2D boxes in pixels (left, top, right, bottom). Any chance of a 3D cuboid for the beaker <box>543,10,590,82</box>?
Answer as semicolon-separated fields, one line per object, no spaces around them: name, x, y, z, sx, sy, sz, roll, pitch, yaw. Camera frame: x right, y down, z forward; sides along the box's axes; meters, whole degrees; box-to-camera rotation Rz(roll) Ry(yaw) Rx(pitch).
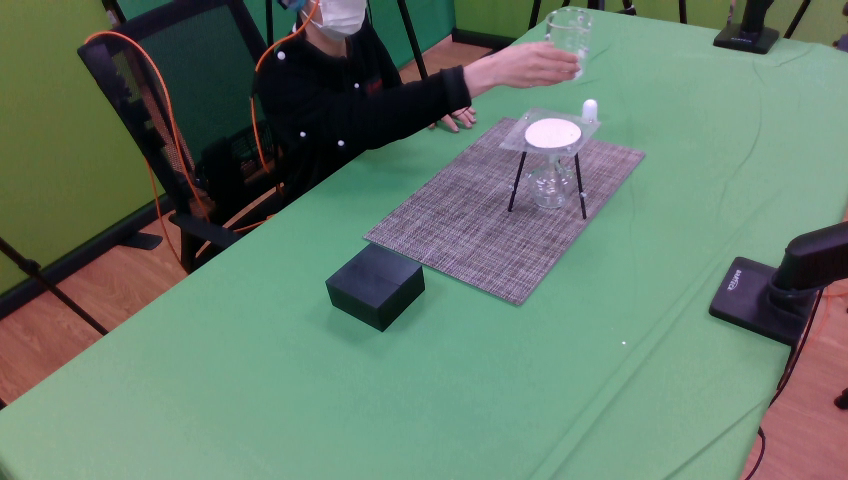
beaker;0.241;-0.325;1.021;0.074;0.101;0.083;-30;48;-22

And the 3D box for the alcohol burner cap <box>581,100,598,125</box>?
alcohol burner cap;0.332;-0.258;1.210;0.034;0.048;0.033;-5;41;5

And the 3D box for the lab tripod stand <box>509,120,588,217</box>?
lab tripod stand;0.207;-0.114;0.983;0.148;0.132;0.147;-5;42;5

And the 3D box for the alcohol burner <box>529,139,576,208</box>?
alcohol burner;0.211;-0.112;0.995;0.078;0.119;0.077;-6;41;6

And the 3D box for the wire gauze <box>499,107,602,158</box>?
wire gauze;0.198;-0.168;0.943;0.120;0.011;0.125;17;47;27
